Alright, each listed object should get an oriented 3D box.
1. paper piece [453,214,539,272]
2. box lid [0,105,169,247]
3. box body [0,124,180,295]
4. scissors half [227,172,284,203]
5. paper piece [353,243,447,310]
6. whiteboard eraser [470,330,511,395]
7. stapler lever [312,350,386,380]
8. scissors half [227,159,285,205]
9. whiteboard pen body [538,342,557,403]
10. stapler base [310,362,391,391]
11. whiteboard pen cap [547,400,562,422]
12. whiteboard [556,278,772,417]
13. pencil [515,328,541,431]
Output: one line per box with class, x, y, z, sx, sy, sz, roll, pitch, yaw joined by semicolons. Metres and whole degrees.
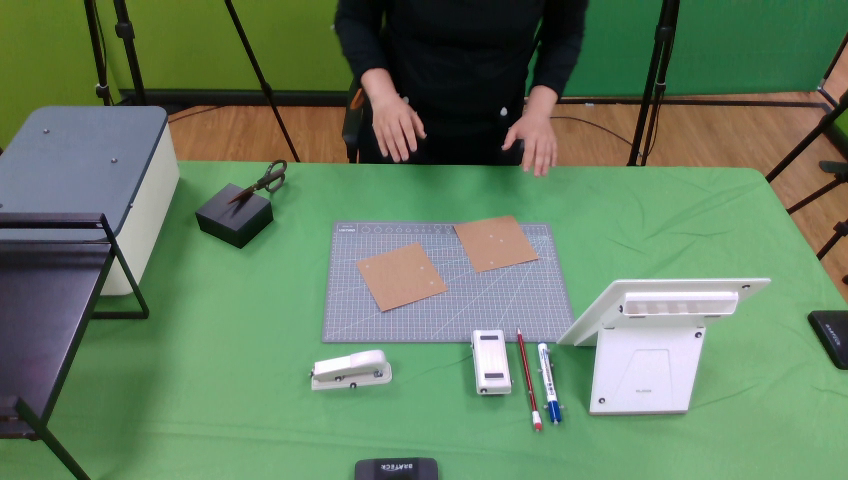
paper piece;0.142;0.003;1.213;0.135;0.004;0.135;-11;48;-14
box lid;-0.624;-0.125;1.067;0.263;0.015;0.369;0;46;-3
box body;-0.628;-0.075;1.122;0.254;0.161;0.361;1;46;-4
scissors half;-0.339;-0.101;1.230;0.013;0.040;0.175;21;28;17
paper piece;-0.046;0.066;1.137;0.136;0.009;0.137;-13;46;-23
whiteboard eraser;0.109;0.202;0.998;0.055;0.042;0.112;1;46;-5
stapler lever;-0.120;0.198;0.963;0.118;0.040;0.026;-4;44;-8
scissors half;-0.336;-0.117;1.218;0.013;0.040;0.175;25;46;14
whiteboard pen body;0.205;0.228;0.997;0.017;0.017;0.140;1;46;-3
stapler base;-0.119;0.215;0.980;0.131;0.024;0.041;-5;44;-7
whiteboard pen cap;0.205;0.269;0.956;0.018;0.018;0.033;0;47;-5
whiteboard;0.347;0.174;0.903;0.217;0.306;0.143;1;65;-4
pencil;0.169;0.224;1.002;0.012;0.012;0.192;-2;46;-6
